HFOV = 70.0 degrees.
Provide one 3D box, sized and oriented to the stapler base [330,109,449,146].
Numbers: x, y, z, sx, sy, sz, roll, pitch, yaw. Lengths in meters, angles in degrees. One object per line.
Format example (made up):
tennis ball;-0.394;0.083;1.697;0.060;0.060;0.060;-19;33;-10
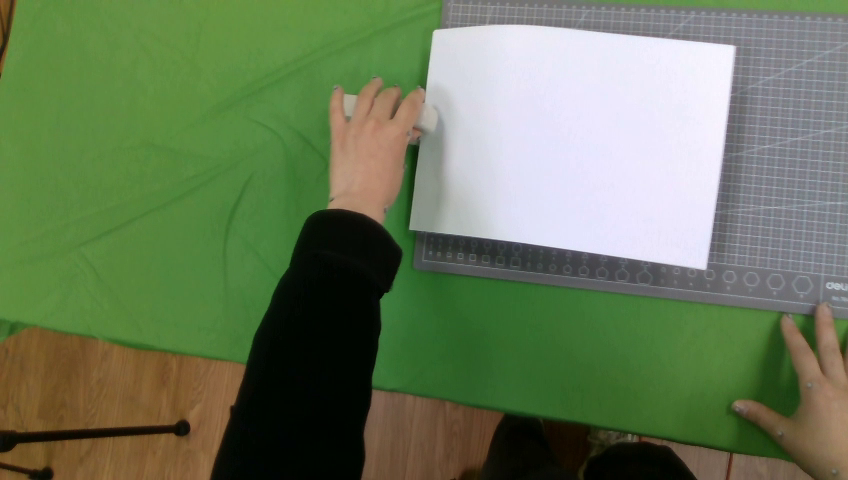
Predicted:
stapler base;-0.040;-0.133;0.648;0.130;0.024;0.041;13;84;12

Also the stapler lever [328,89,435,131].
stapler lever;-0.046;-0.136;0.625;0.118;0.040;0.027;13;83;11
